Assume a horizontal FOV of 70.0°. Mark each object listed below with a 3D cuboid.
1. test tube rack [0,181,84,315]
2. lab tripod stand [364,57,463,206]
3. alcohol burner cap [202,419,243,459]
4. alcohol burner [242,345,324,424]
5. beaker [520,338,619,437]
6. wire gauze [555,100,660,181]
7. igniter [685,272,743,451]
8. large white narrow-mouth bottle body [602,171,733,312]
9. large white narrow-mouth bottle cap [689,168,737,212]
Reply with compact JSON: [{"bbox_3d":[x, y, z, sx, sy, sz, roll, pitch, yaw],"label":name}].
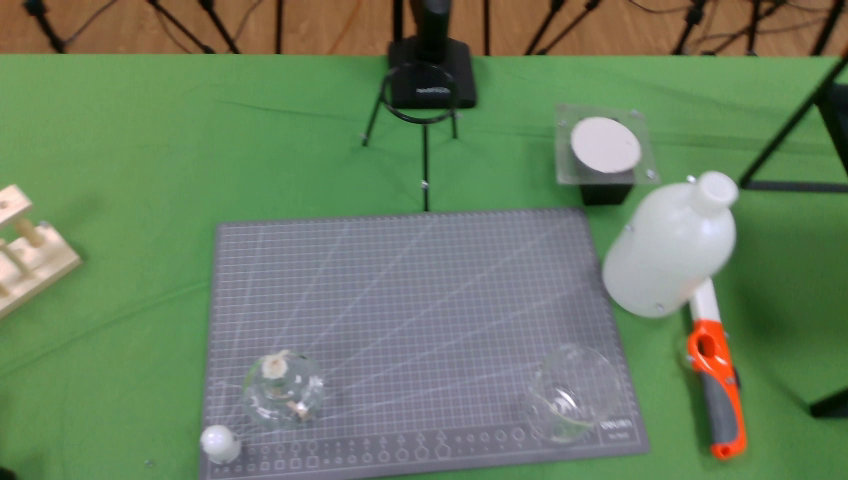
[{"bbox_3d":[-0.484,0.053,0.603,0.066,0.086,0.242,41,65,17],"label":"test tube rack"},{"bbox_3d":[-0.004,-0.136,0.725,0.148,0.132,0.147,3,61,-5],"label":"lab tripod stand"},{"bbox_3d":[-0.194,0.188,0.576,0.034,0.048,0.033,2,62,-3],"label":"alcohol burner cap"},{"bbox_3d":[-0.134,0.131,0.573,0.078,0.120,0.077,3,59,-5],"label":"alcohol burner"},{"bbox_3d":[0.135,0.149,0.595,0.084,0.101,0.073,-6,61,-7],"label":"beaker"},{"bbox_3d":[0.225,-0.123,0.754,0.121,0.011,0.124,4,60,-3],"label":"wire gauze"},{"bbox_3d":[0.318,0.097,0.685,0.057,0.025,0.274,11,60,-13],"label":"igniter"},{"bbox_3d":[0.263,-0.004,0.640,0.102,0.196,0.101,2,60,-3],"label":"large white narrow-mouth bottle body"},{"bbox_3d":[0.269,-0.047,0.566,0.038,0.024,0.037,2,61,-3],"label":"large white narrow-mouth bottle cap"}]
